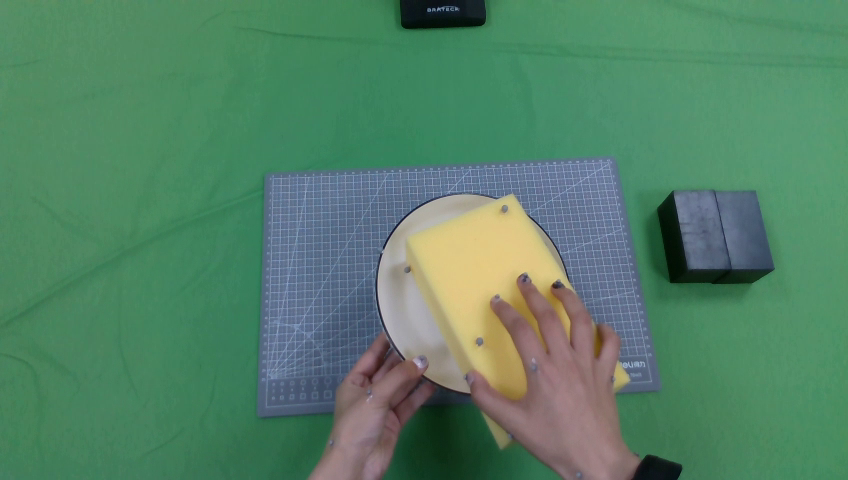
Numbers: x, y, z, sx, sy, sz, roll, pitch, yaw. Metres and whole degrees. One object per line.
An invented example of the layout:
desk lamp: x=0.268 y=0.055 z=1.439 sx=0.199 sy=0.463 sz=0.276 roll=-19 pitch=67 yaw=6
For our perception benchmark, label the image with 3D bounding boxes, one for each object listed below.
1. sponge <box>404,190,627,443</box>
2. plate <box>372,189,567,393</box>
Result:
sponge: x=0.076 y=0.066 z=0.567 sx=0.118 sy=0.061 sz=0.205 roll=-23 pitch=66 yaw=-13
plate: x=0.047 y=0.051 z=0.619 sx=0.210 sy=0.038 sz=0.208 roll=5 pitch=74 yaw=-15
